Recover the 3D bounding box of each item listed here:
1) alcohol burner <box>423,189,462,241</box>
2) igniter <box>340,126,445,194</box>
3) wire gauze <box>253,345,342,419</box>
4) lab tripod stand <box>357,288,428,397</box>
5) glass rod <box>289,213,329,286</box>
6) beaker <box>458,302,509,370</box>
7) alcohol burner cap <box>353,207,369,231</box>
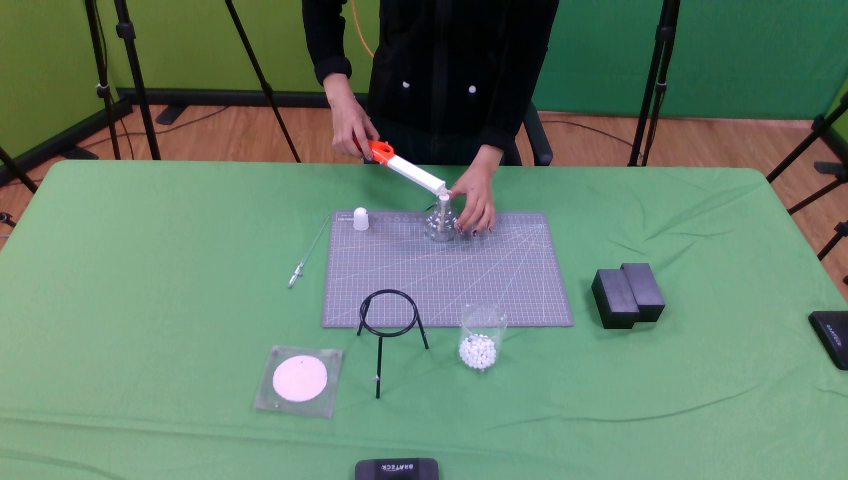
[{"bbox_3d":[0.036,-0.055,1.186,0.078,0.120,0.077,1,48,-1],"label":"alcohol burner"},{"bbox_3d":[-0.071,-0.166,1.221,0.275,0.025,0.057,32,54,27],"label":"igniter"},{"bbox_3d":[-0.200,0.224,0.979,0.125,0.011,0.121,7,47,0],"label":"wire gauze"},{"bbox_3d":[-0.058,0.155,0.967,0.148,0.132,0.147,3,47,-3],"label":"lab tripod stand"},{"bbox_3d":[-0.221,0.014,1.179,0.008,0.008,0.199,12,46,8],"label":"glass rod"},{"bbox_3d":[0.092,0.159,0.999,0.083,0.101,0.074,35,53,28],"label":"beaker"},{"bbox_3d":[-0.127,-0.046,1.215,0.034,0.048,0.033,2,47,-2],"label":"alcohol burner cap"}]
